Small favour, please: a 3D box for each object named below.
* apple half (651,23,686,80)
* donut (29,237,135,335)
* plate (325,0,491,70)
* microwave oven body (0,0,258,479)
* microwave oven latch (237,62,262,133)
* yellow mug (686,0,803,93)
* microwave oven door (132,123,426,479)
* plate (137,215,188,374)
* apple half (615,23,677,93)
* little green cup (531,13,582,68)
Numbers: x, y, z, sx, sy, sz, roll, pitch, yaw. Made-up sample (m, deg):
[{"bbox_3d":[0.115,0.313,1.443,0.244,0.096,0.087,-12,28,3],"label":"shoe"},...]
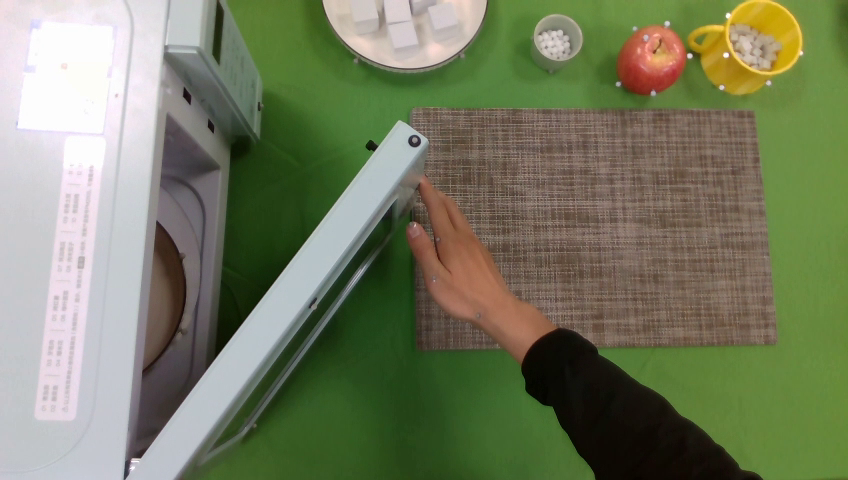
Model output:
[{"bbox_3d":[0.303,-0.237,0.759,0.033,0.081,0.081,-27,84,-3],"label":"apple half"},{"bbox_3d":[-0.344,0.046,0.612,0.099,0.048,0.099,1,84,-5],"label":"donut"},{"bbox_3d":[-0.020,-0.309,0.762,0.208,0.039,0.207,1,82,-4],"label":"plate"},{"bbox_3d":[-0.354,-0.014,0.580,0.326,0.260,0.440,3,83,-5],"label":"microwave oven body"},{"bbox_3d":[-0.207,-0.168,0.710,0.030,0.029,0.079,4,83,-4],"label":"microwave oven latch"},{"bbox_3d":[0.401,-0.251,0.773,0.131,0.064,0.099,10,81,-2],"label":"yellow mug"},{"bbox_3d":[-0.118,0.066,0.583,0.039,0.244,0.355,35,81,3],"label":"microwave oven door"},{"bbox_3d":[-0.348,0.052,0.624,0.209,0.038,0.208,1,83,-5],"label":"plate"},{"bbox_3d":[0.268,-0.219,0.755,0.053,0.074,0.080,-27,88,-3],"label":"apple half"},{"bbox_3d":[0.166,-0.251,0.769,0.061,0.039,0.061,1,82,-4],"label":"little green cup"}]
